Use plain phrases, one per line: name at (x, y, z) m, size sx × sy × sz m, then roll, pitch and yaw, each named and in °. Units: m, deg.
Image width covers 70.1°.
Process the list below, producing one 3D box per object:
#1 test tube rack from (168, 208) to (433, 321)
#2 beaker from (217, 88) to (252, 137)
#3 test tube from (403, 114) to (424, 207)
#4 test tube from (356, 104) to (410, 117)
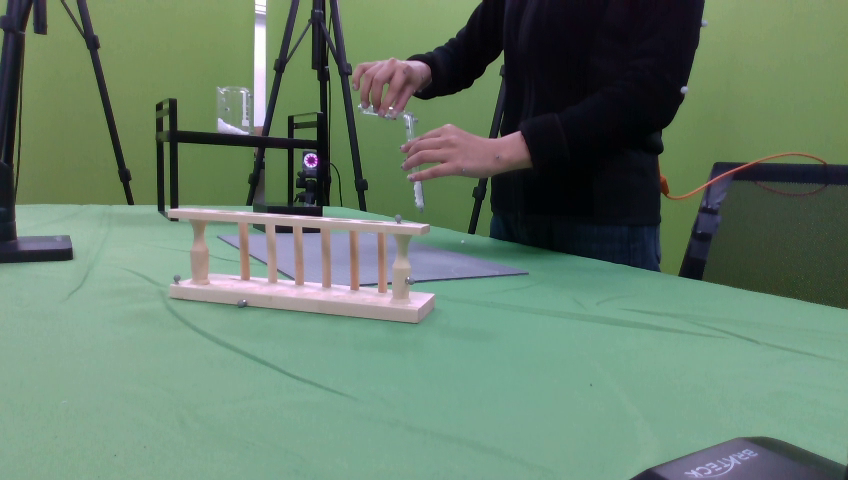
test tube rack at (-0.116, 0.017, 0.574) m, size 0.242 × 0.085 × 0.067 m, roll 4°, pitch 8°, yaw 13°
beaker at (-0.412, -0.276, 1.310) m, size 0.074 × 0.100 × 0.084 m, roll 4°, pitch 8°, yaw 16°
test tube at (-0.016, -0.123, 0.928) m, size 0.017 × 0.150 × 0.017 m, roll -7°, pitch -13°, yaw -1°
test tube at (-0.071, -0.215, 1.003) m, size 0.017 × 0.017 × 0.149 m, roll -4°, pitch 15°, yaw -38°
